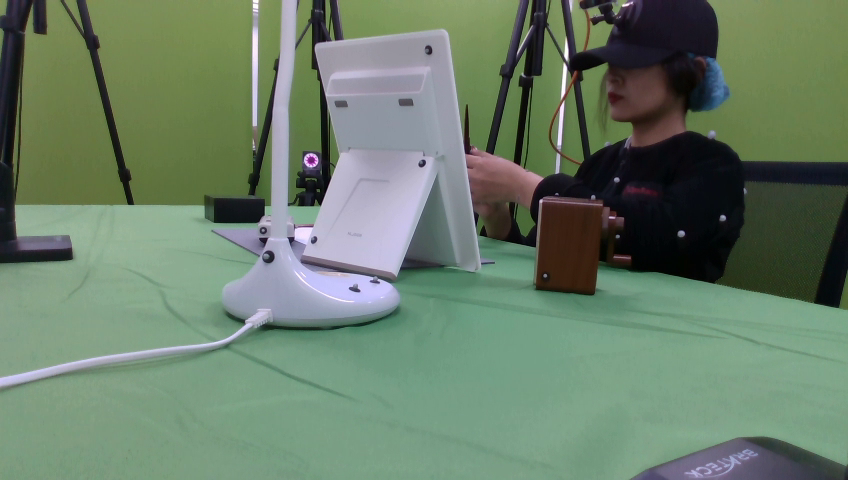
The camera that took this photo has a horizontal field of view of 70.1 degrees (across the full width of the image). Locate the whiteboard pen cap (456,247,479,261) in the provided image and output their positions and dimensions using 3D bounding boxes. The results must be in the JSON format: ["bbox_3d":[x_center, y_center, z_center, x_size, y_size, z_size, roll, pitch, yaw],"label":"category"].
[{"bbox_3d":[0.060,0.020,0.851,0.033,0.018,0.018,10,10,37],"label":"whiteboard pen cap"}]

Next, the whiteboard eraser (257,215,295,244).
[{"bbox_3d":[-0.232,-0.016,0.951,0.056,0.042,0.112,1,7,-12],"label":"whiteboard eraser"}]

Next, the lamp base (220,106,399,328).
[{"bbox_3d":[-0.101,-0.023,0.531,0.160,0.180,0.179,4,10,10],"label":"lamp base"}]

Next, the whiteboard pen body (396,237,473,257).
[{"bbox_3d":[0.014,0.012,0.886,0.140,0.017,0.017,10,10,38],"label":"whiteboard pen body"}]

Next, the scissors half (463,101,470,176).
[{"bbox_3d":[0.067,-0.155,1.034,0.012,0.175,0.040,27,42,30],"label":"scissors half"}]

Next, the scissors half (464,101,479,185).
[{"bbox_3d":[0.079,-0.166,1.045,0.013,0.175,0.040,23,55,26],"label":"scissors half"}]

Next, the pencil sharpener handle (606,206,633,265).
[{"bbox_3d":[0.223,-0.004,0.683,0.030,0.068,0.036,5,21,16],"label":"pencil sharpener handle"}]

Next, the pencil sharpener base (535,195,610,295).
[{"bbox_3d":[0.172,0.004,0.696,0.076,0.107,0.061,5,7,16],"label":"pencil sharpener base"}]

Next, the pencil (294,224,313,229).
[{"bbox_3d":[-0.218,-0.028,1.207,0.195,0.012,0.012,-5,10,-37],"label":"pencil"}]

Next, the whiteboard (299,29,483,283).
[{"bbox_3d":[-0.074,-0.082,0.742,0.216,0.305,0.144,9,30,38],"label":"whiteboard"}]
